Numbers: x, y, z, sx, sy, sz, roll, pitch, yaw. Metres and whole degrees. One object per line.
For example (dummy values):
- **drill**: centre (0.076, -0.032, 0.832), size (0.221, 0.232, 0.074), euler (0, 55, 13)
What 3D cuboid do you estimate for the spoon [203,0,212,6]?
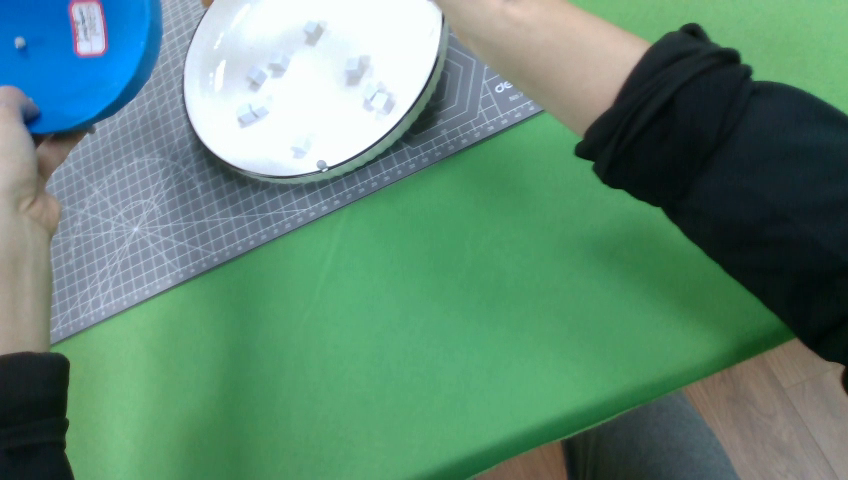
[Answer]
- **spoon**: centre (-0.059, -0.181, 0.300), size (0.193, 0.022, 0.041), euler (-26, 57, 30)

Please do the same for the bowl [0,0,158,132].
- **bowl**: centre (-0.241, -0.144, 0.405), size (0.151, 0.077, 0.151), euler (0, 95, 3)

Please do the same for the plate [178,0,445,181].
- **plate**: centre (-0.082, -0.136, 0.448), size (0.208, 0.038, 0.208), euler (-5, 72, 15)
